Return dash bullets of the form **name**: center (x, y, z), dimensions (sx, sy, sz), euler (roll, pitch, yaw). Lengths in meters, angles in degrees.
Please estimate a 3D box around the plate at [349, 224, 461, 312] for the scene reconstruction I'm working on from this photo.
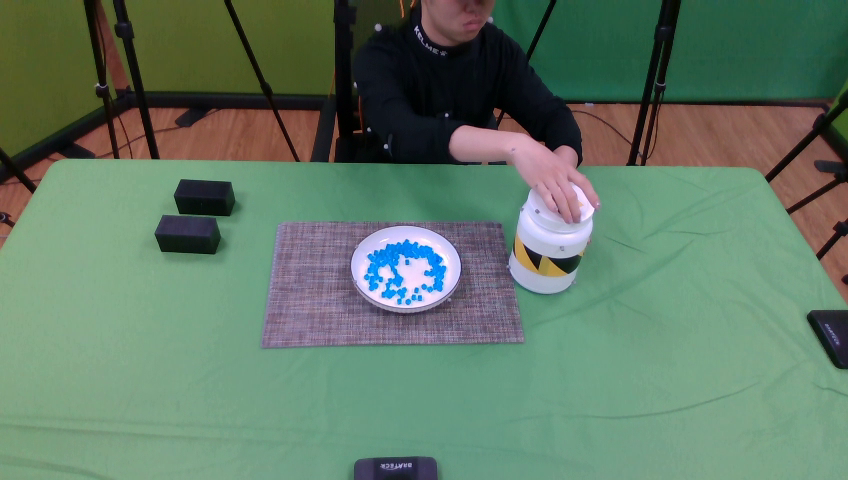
- **plate**: center (-0.035, 0.054, 1.126), dimensions (0.208, 0.039, 0.206), euler (2, 46, -2)

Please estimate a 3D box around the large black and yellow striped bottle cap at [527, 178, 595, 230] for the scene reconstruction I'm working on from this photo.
- **large black and yellow striped bottle cap**: center (0.236, -0.064, 1.045), dimensions (0.115, 0.019, 0.114), euler (3, 48, -3)

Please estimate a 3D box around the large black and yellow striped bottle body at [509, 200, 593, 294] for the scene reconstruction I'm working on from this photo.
- **large black and yellow striped bottle body**: center (0.231, -0.005, 1.106), dimensions (0.131, 0.185, 0.130), euler (2, 46, -2)
